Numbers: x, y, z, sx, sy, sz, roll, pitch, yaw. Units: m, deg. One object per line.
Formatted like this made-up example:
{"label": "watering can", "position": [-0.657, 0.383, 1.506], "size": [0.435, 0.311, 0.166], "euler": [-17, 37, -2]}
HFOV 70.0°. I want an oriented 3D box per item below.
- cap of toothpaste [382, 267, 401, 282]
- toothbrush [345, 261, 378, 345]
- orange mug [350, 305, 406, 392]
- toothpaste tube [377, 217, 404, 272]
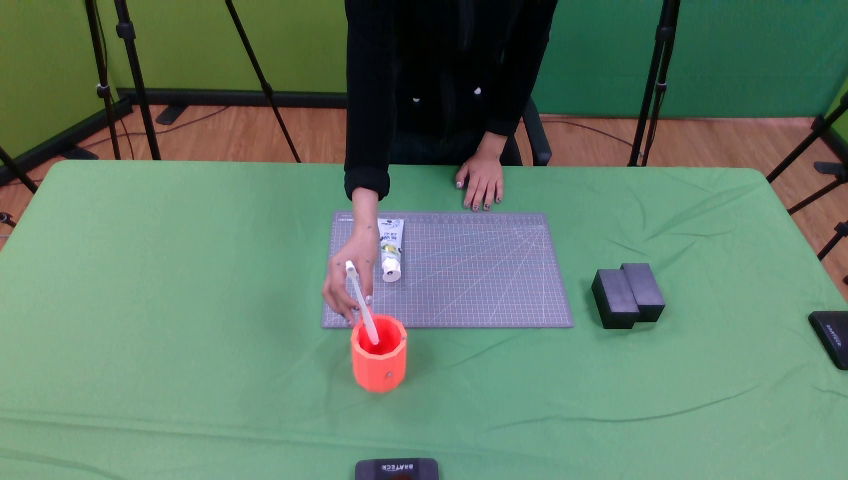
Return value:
{"label": "cap of toothpaste", "position": [-0.060, 0.063, 1.119], "size": [0.037, 0.037, 0.011], "euler": [-10, 50, -12]}
{"label": "toothbrush", "position": [-0.092, 0.098, 0.901], "size": [0.014, 0.183, 0.016], "euler": [-22, 44, -11]}
{"label": "orange mug", "position": [-0.080, 0.168, 0.978], "size": [0.083, 0.101, 0.125], "euler": [-16, 54, -18]}
{"label": "toothpaste tube", "position": [-0.063, 0.008, 1.179], "size": [0.055, 0.034, 0.164], "euler": [5, 42, -9]}
